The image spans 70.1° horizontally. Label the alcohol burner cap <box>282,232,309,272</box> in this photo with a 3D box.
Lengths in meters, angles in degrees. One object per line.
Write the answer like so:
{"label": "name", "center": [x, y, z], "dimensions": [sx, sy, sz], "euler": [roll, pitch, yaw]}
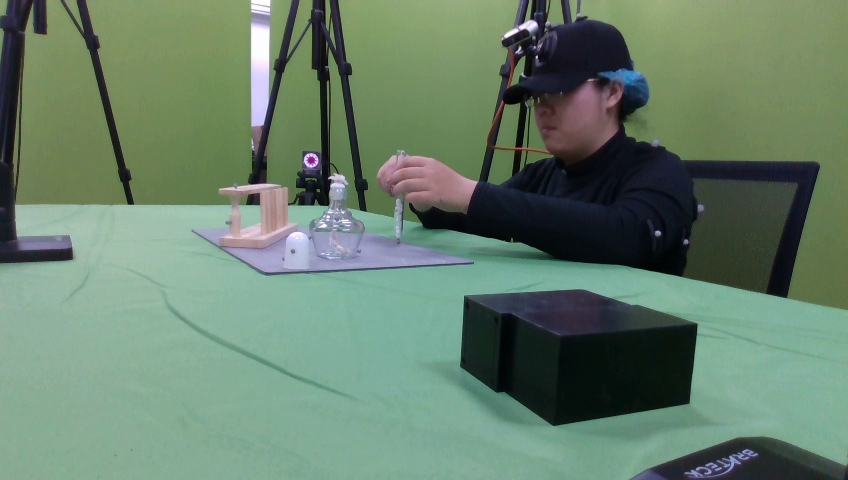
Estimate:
{"label": "alcohol burner cap", "center": [-0.157, 0.014, 0.740], "dimensions": [0.034, 0.048, 0.034], "euler": [2, 6, 0]}

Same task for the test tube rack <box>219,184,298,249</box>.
{"label": "test tube rack", "center": [-0.266, -0.046, 1.001], "dimensions": [0.067, 0.085, 0.242], "euler": [3, 7, 0]}

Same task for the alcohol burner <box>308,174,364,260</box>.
{"label": "alcohol burner", "center": [-0.121, -0.033, 0.841], "dimensions": [0.078, 0.119, 0.078], "euler": [3, 5, 0]}

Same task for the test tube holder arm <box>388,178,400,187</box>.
{"label": "test tube holder arm", "center": [-0.053, -0.102, 1.072], "dimensions": [0.013, 0.015, 0.178], "euler": [8, 4, -9]}

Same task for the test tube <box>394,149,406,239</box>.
{"label": "test tube", "center": [-0.040, -0.077, 1.007], "dimensions": [0.017, 0.150, 0.017], "euler": [3, 5, 0]}

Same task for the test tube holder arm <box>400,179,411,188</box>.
{"label": "test tube holder arm", "center": [-0.039, -0.096, 1.030], "dimensions": [0.010, 0.015, 0.087], "euler": [6, 5, -19]}
